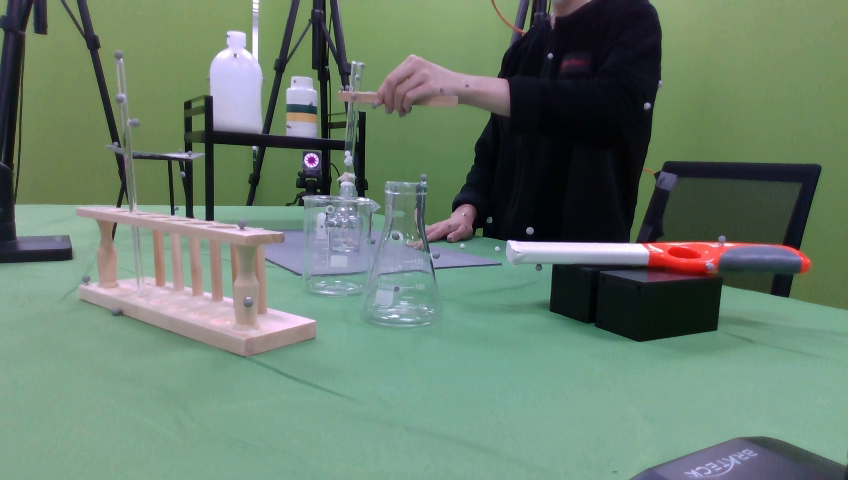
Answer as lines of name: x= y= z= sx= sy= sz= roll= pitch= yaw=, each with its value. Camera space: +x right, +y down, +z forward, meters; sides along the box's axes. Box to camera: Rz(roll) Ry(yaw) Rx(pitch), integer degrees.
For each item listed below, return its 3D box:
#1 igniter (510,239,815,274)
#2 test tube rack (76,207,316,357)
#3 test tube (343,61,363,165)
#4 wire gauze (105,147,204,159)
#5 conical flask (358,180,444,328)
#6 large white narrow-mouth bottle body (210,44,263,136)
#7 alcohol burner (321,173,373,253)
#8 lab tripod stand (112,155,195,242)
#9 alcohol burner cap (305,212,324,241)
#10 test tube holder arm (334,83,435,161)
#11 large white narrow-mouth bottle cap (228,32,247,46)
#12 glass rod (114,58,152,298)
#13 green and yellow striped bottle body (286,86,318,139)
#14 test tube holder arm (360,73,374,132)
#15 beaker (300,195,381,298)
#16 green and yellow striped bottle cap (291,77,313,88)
igniter: x=0.220 y=0.015 z=0.565 sx=0.277 sy=0.025 sz=0.057 roll=2 pitch=16 yaw=-1
test tube rack: x=-0.196 y=0.023 z=0.500 sx=0.241 sy=0.085 sz=0.067 roll=8 pitch=9 yaw=36
test tube: x=-0.103 y=-0.180 z=0.868 sx=0.017 sy=0.150 sz=0.017 roll=7 pitch=21 yaw=-3
wire gauze: x=-0.407 y=-0.131 z=0.929 sx=0.125 sy=0.011 sz=0.121 roll=2 pitch=6 yaw=-11
conical flask: x=-0.017 y=0.010 z=0.522 sx=0.075 sy=0.122 sz=0.075 roll=3 pitch=7 yaw=0
large white narrow-mouth bottle body: x=-0.369 y=-0.305 z=1.194 sx=0.102 sy=0.194 sz=0.102 roll=3 pitch=8 yaw=0
alcohol burner: x=-0.115 y=-0.041 z=0.905 sx=0.078 sy=0.119 sz=0.078 roll=1 pitch=6 yaw=0
lab tripod stand: x=-0.405 y=-0.064 z=0.931 sx=0.148 sy=0.131 sz=0.148 roll=1 pitch=6 yaw=0
alcohol burner cap: x=-0.185 y=-0.023 z=1.027 sx=0.034 sy=0.048 sz=0.034 roll=2 pitch=6 yaw=0
test tube holder arm: x=-0.053 y=-0.165 z=0.864 sx=0.179 sy=0.013 sz=0.015 roll=32 pitch=-37 yaw=-28
large white narrow-mouth bottle cap: x=-0.364 y=-0.391 z=1.180 sx=0.038 sy=0.024 sz=0.037 roll=3 pitch=8 yaw=0
glass rod: x=-0.236 y=-0.044 z=0.493 sx=0.008 sy=0.199 sz=0.008 roll=1 pitch=16 yaw=0
green and yellow striped bottle body: x=-0.251 y=-0.270 z=1.245 sx=0.063 sy=0.119 sz=0.063 roll=2 pitch=7 yaw=0
test tube holder arm: x=-0.080 y=-0.193 z=0.851 sx=0.010 sy=0.087 sz=0.015 roll=6 pitch=-19 yaw=-36
beaker: x=-0.087 y=0.006 z=0.626 sx=0.084 sy=0.100 sz=0.074 roll=1 pitch=8 yaw=-17
green and yellow striped bottle cap: x=-0.249 y=-0.321 z=1.237 sx=0.045 sy=0.020 sz=0.045 roll=3 pitch=5 yaw=0
